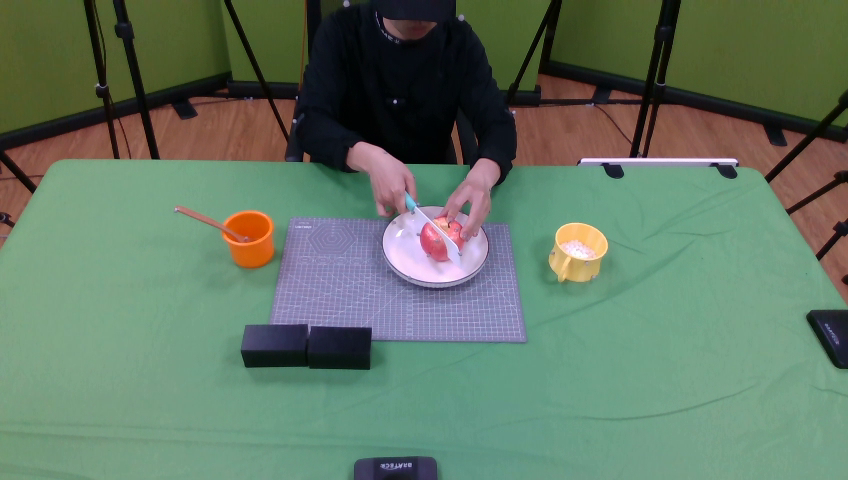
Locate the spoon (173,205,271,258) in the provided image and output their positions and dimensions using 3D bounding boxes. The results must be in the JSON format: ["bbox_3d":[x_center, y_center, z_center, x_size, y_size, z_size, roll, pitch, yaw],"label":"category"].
[{"bbox_3d":[-0.362,-0.017,1.098,0.021,0.195,0.041,-32,42,27],"label":"spoon"}]

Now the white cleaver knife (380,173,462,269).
[{"bbox_3d":[-0.011,-0.041,1.168,0.021,0.066,0.284,-25,47,-19],"label":"white cleaver knife"}]

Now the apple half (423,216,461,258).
[{"bbox_3d":[0.038,-0.007,1.152,0.053,0.075,0.080,-22,53,-39],"label":"apple half"}]

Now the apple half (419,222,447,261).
[{"bbox_3d":[0.010,0.011,1.139,0.033,0.082,0.081,-26,53,-21],"label":"apple half"}]

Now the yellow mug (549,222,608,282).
[{"bbox_3d":[0.287,0.031,1.159,0.099,0.064,0.130,27,51,21],"label":"yellow mug"}]

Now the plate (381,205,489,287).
[{"bbox_3d":[0.021,0.015,1.170,0.209,0.038,0.208,2,46,-2],"label":"plate"}]
